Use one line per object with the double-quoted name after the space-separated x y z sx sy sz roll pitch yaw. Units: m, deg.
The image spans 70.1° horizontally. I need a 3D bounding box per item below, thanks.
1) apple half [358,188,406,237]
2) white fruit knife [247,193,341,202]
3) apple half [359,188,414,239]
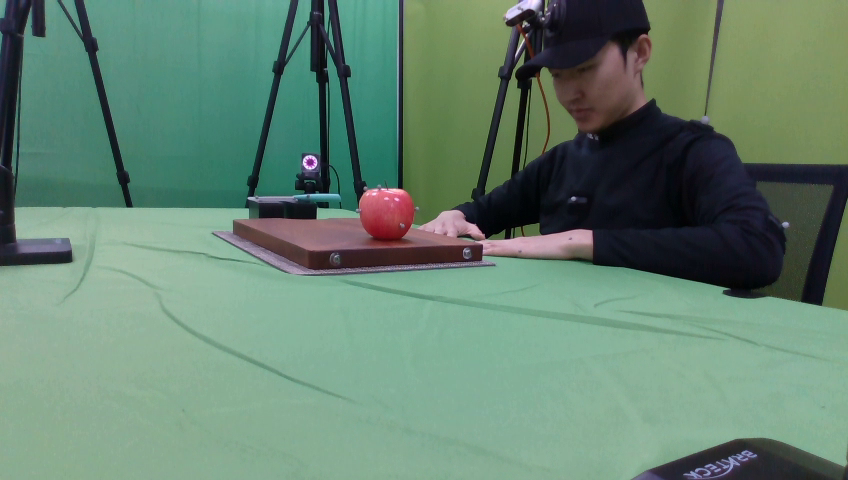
-0.068 -0.043 0.904 0.082 0.081 0.032 -1 11 -29 "apple half"
-0.271 -0.088 1.283 0.208 0.016 0.027 -3 -20 -31 "white fruit knife"
-0.049 -0.037 0.870 0.081 0.074 0.053 3 10 -30 "apple half"
